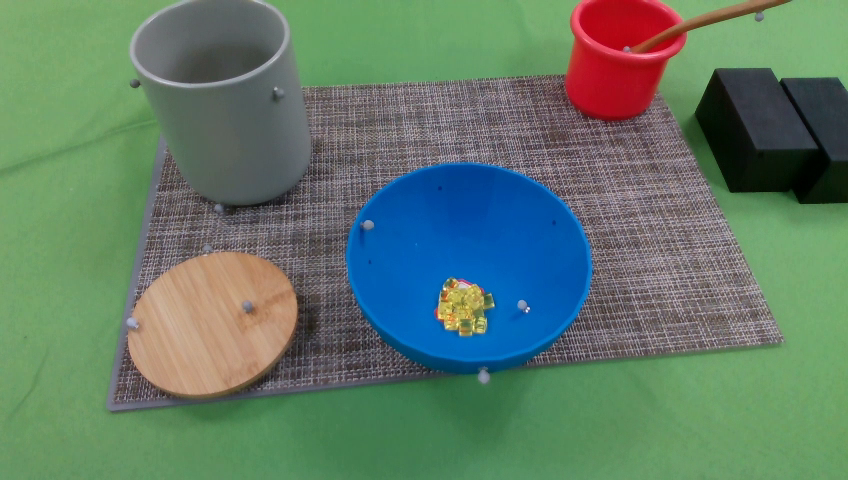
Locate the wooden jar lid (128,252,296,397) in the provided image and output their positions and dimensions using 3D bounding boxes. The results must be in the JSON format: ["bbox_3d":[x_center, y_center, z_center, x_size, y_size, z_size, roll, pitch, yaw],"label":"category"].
[{"bbox_3d":[-0.140,0.057,0.408,0.108,0.021,0.107,0,53,0],"label":"wooden jar lid"}]

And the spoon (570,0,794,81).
[{"bbox_3d":[0.207,-0.170,0.509,0.022,0.193,0.041,50,55,-22],"label":"spoon"}]

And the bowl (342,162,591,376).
[{"bbox_3d":[0.025,0.029,0.396,0.151,0.077,0.150,1,53,-1],"label":"bowl"}]

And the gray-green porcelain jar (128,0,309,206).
[{"bbox_3d":[-0.144,-0.096,0.455,0.106,0.127,0.105,1,53,-1],"label":"gray-green porcelain jar"}]
